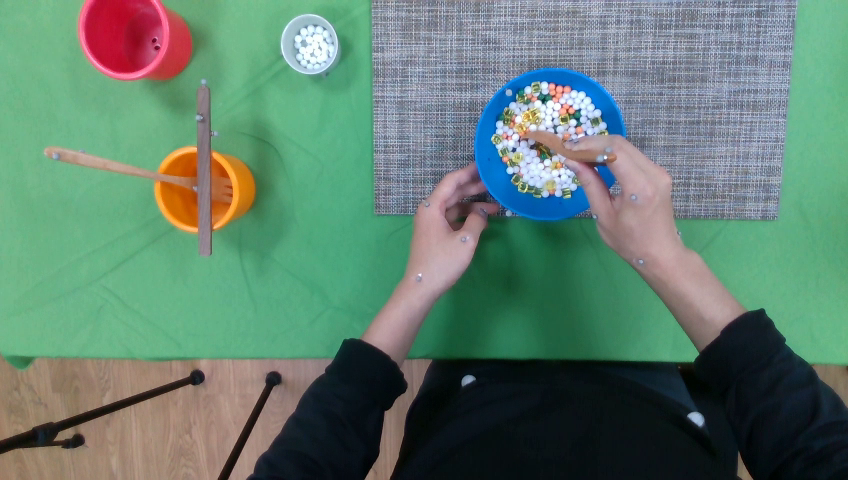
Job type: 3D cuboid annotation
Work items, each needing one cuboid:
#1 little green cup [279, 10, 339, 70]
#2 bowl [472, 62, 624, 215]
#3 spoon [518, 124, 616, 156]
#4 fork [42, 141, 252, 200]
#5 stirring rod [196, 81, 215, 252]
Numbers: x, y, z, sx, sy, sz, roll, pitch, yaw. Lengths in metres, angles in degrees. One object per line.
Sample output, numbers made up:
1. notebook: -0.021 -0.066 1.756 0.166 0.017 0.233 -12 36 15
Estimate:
1. little green cup: -0.122 -0.214 0.659 0.061 0.038 0.062 1 100 4
2. bowl: 0.125 -0.104 0.636 0.151 0.076 0.151 1 99 4
3. spoon: 0.131 -0.091 0.563 0.042 0.192 0.022 9 106 -13
4. fork: -0.281 -0.072 0.637 0.209 0.018 0.028 11 106 -42
5. stirring rod: -0.228 -0.075 0.631 0.014 0.006 0.176 2 100 4
